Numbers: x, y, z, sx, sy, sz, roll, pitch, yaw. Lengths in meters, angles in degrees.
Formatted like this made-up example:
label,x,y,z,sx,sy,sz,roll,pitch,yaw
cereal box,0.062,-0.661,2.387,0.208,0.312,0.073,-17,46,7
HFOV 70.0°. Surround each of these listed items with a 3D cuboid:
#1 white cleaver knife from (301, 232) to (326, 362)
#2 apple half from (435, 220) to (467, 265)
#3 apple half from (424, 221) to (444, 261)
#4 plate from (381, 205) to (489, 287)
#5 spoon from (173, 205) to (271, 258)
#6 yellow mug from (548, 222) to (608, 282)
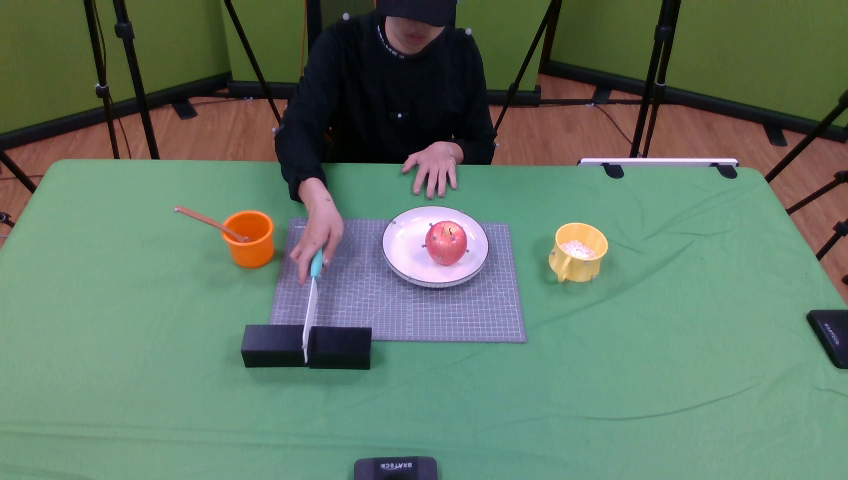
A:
label,x,y,z,sx,sy,sz,roll,pitch,yaw
white cleaver knife,-0.196,0.089,1.056,0.021,0.066,0.284,3,39,-3
apple half,0.054,0.009,1.142,0.053,0.075,0.080,14,43,3
apple half,0.016,0.002,1.145,0.033,0.081,0.081,13,46,3
plate,0.021,0.015,1.170,0.209,0.038,0.208,2,46,-2
spoon,-0.362,-0.017,1.098,0.021,0.195,0.041,-33,42,27
yellow mug,0.287,0.031,1.159,0.099,0.064,0.130,28,51,21
